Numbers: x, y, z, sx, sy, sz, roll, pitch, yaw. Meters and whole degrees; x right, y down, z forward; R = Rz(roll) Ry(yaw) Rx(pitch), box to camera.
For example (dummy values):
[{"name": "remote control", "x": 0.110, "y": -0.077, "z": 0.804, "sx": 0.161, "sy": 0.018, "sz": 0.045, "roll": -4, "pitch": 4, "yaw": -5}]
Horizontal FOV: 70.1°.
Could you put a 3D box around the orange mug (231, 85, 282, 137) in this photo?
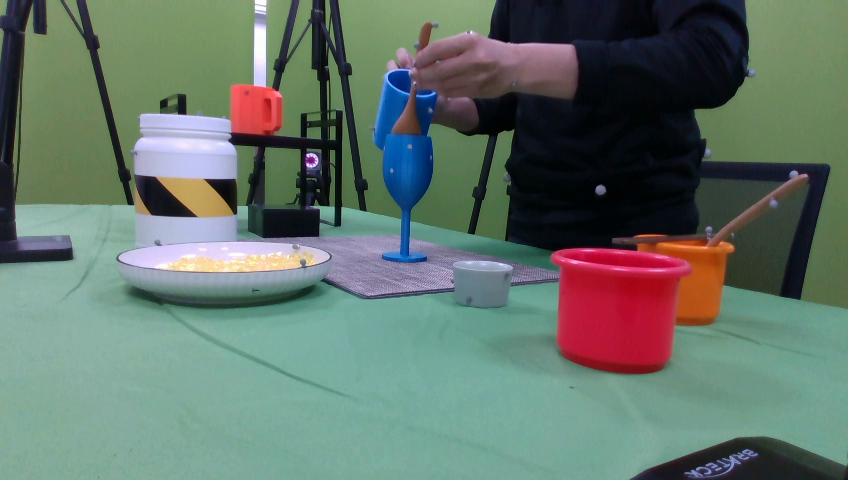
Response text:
[{"name": "orange mug", "x": -0.335, "y": -0.261, "z": 1.225, "sx": 0.125, "sy": 0.100, "sz": 0.084, "roll": 2, "pitch": 6, "yaw": 35}]

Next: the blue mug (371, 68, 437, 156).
[{"name": "blue mug", "x": -0.035, "y": -0.204, "z": 0.928, "sx": 0.082, "sy": 0.106, "sz": 0.116, "roll": 2, "pitch": 41, "yaw": -17}]

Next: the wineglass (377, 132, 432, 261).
[{"name": "wineglass", "x": -0.026, "y": -0.061, "z": 0.841, "sx": 0.074, "sy": 0.172, "sz": 0.073, "roll": 2, "pitch": 7, "yaw": 0}]

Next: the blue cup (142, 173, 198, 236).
[{"name": "blue cup", "x": -0.425, "y": -0.060, "z": 1.014, "sx": 0.093, "sy": 0.100, "sz": 0.092, "roll": 4, "pitch": 9, "yaw": 0}]

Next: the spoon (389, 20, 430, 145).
[{"name": "spoon", "x": -0.016, "y": -0.191, "z": 0.763, "sx": 0.042, "sy": 0.193, "sz": 0.021, "roll": 9, "pitch": 47, "yaw": -4}]

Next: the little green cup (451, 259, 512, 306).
[{"name": "little green cup", "x": 0.057, "y": 0.043, "z": 0.611, "sx": 0.061, "sy": 0.038, "sz": 0.061, "roll": 3, "pitch": 8, "yaw": 0}]

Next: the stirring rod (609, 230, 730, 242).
[{"name": "stirring rod", "x": 0.241, "y": -0.004, "z": 0.582, "sx": 0.177, "sy": 0.006, "sz": 0.014, "roll": -3, "pitch": 10, "yaw": -33}]

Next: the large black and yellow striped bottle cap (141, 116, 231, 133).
[{"name": "large black and yellow striped bottle cap", "x": -0.324, "y": -0.157, "z": 0.826, "sx": 0.115, "sy": 0.019, "sz": 0.115, "roll": 1, "pitch": 7, "yaw": 0}]

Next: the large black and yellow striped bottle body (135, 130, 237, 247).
[{"name": "large black and yellow striped bottle body", "x": -0.327, "y": -0.074, "z": 0.838, "sx": 0.131, "sy": 0.184, "sz": 0.130, "roll": 2, "pitch": 7, "yaw": 0}]

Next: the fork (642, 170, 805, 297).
[{"name": "fork", "x": 0.261, "y": 0.004, "z": 0.545, "sx": 0.028, "sy": 0.018, "sz": 0.207, "roll": 5, "pitch": -37, "yaw": -15}]

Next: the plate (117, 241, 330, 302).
[{"name": "plate", "x": -0.203, "y": 0.031, "z": 0.630, "sx": 0.209, "sy": 0.038, "sz": 0.209, "roll": 3, "pitch": 7, "yaw": 0}]
